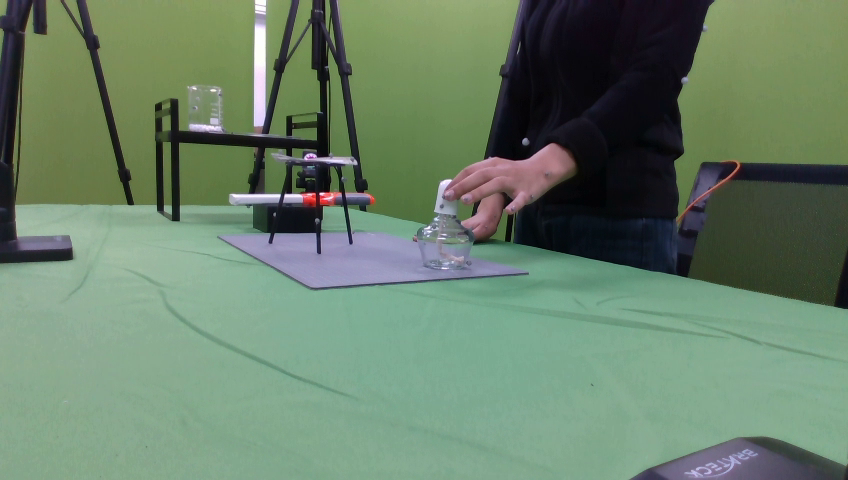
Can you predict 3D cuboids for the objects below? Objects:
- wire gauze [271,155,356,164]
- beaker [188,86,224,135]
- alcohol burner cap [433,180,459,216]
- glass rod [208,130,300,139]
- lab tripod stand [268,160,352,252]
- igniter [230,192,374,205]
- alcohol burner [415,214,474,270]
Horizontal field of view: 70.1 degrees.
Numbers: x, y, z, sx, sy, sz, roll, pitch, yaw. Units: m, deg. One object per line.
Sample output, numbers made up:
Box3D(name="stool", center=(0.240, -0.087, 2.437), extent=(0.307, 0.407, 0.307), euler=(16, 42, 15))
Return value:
Box3D(name="wire gauze", center=(-0.167, -0.122, 0.917), extent=(0.125, 0.011, 0.121), euler=(0, 7, -8))
Box3D(name="beaker", center=(-0.474, -0.280, 1.311), extent=(0.074, 0.100, 0.084), euler=(5, 8, 25))
Box3D(name="alcohol burner cap", center=(0.031, -0.055, 0.791), extent=(0.034, 0.048, 0.034), euler=(6, 8, 0))
Box3D(name="glass rod", center=(-0.367, -0.231, 1.321), extent=(0.201, 0.008, 0.008), euler=(-1, 8, -30))
Box3D(name="lab tripod stand", center=(-0.171, -0.055, 0.922), extent=(0.148, 0.131, 0.148), euler=(1, 8, 0))
Box3D(name="igniter", center=(-0.228, -0.079, 1.164), extent=(0.278, 0.025, 0.057), euler=(-2, 14, -30))
Box3D(name="alcohol burner", center=(0.028, -0.020, 0.798), extent=(0.078, 0.119, 0.078), euler=(3, 5, 0))
